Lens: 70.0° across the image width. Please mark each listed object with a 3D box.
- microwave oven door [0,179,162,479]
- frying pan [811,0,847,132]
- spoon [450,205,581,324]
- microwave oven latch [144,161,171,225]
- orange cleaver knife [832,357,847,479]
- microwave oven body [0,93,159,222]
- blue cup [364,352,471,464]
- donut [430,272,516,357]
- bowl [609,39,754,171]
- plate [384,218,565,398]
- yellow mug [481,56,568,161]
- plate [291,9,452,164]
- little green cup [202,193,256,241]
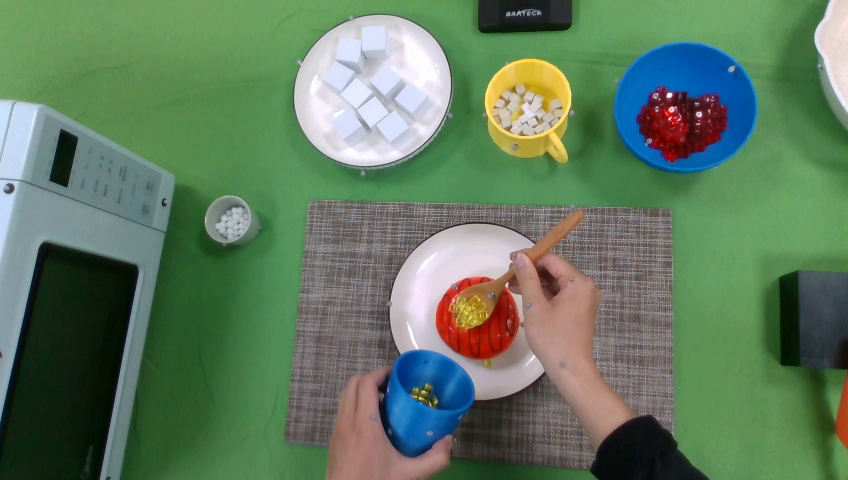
[{"bbox_3d":[-0.395,0.135,0.649,0.039,0.245,0.354,5,80,10],"label":"microwave oven door"},{"bbox_3d":[0.560,-0.107,0.636,0.306,0.103,0.485,7,73,11],"label":"frying pan"},{"bbox_3d":[0.088,0.028,0.610,0.041,0.022,0.194,54,132,13],"label":"spoon"},{"bbox_3d":[-0.351,-0.061,0.782,0.030,0.029,0.079,9,82,10],"label":"microwave oven latch"},{"bbox_3d":[0.435,0.190,0.614,0.012,0.077,0.212,2,109,10],"label":"orange cleaver knife"},{"bbox_3d":[-0.532,0.081,0.685,0.325,0.261,0.440,5,81,9],"label":"microwave oven body"},{"bbox_3d":[-0.015,0.175,0.605,0.092,0.093,0.100,44,130,14],"label":"blue cup"},{"bbox_3d":[0.056,0.085,0.697,0.099,0.048,0.099,-1,83,10],"label":"donut"},{"bbox_3d":[0.286,-0.144,0.698,0.151,0.077,0.151,-2,80,9],"label":"bowl"},{"bbox_3d":[0.057,0.078,0.710,0.209,0.038,0.208,-1,80,9],"label":"plate"},{"bbox_3d":[0.130,-0.149,0.730,0.100,0.064,0.130,-34,78,1],"label":"yellow mug"},{"bbox_3d":[-0.066,-0.194,0.781,0.207,0.039,0.207,-2,80,9],"label":"plate"},{"bbox_3d":[-0.248,-0.027,0.778,0.061,0.039,0.061,-1,81,8],"label":"little green cup"}]
